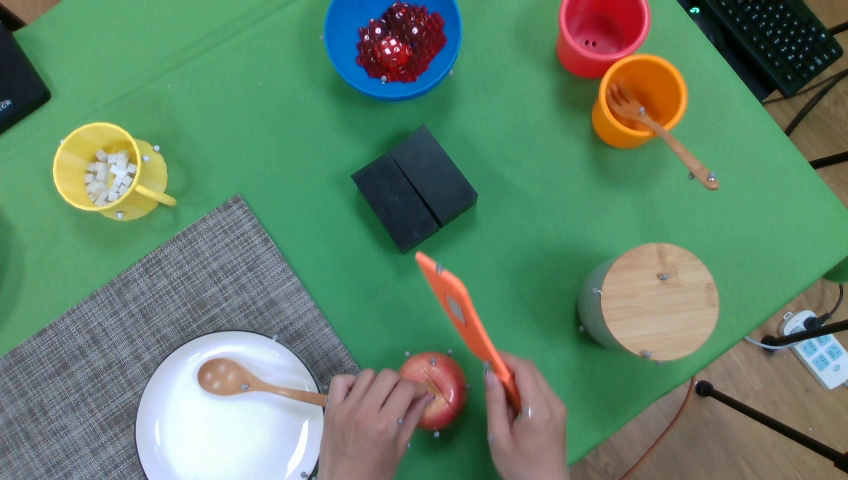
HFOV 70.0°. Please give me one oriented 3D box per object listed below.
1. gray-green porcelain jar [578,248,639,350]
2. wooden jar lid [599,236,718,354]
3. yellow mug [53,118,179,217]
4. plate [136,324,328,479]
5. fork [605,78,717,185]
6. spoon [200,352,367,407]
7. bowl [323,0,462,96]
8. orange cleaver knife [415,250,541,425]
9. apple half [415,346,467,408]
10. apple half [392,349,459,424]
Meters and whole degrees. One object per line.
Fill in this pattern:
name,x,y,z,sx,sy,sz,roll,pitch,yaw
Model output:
gray-green porcelain jar,0.220,0.059,0.625,0.106,0.127,0.105,0,83,3
wooden jar lid,0.216,0.051,0.563,0.108,0.021,0.108,0,86,1
yellow mug,-0.340,-0.074,0.690,0.131,0.064,0.100,26,85,4
plate,-0.207,0.196,0.667,0.209,0.038,0.208,0,85,2
fork,0.242,-0.117,0.630,0.028,0.019,0.205,-19,40,-1
spoon,-0.154,0.157,0.656,0.193,0.022,0.041,9,73,15
bowl,-0.032,-0.227,0.687,0.151,0.077,0.151,0,84,2
orange cleaver knife,0.052,0.094,0.569,0.012,0.076,0.213,-39,119,-15
apple half,0.026,0.139,0.650,0.033,0.081,0.081,-37,83,2
apple half,-0.005,0.163,0.649,0.053,0.075,0.080,-38,86,0
